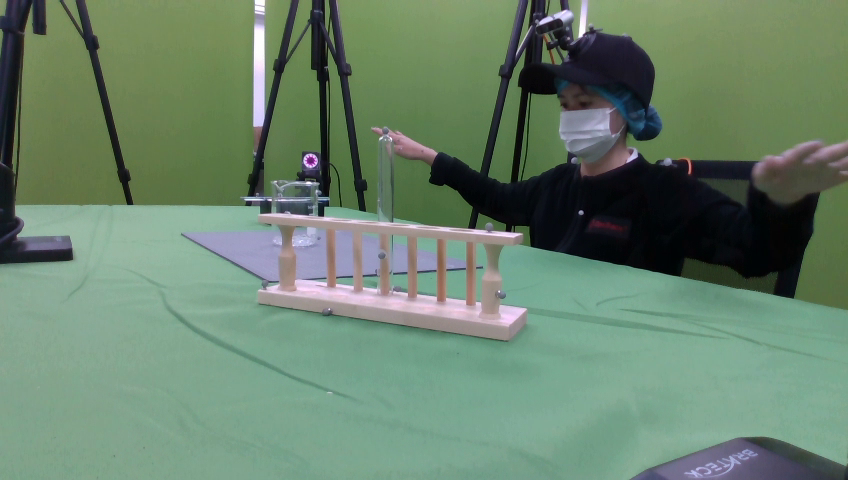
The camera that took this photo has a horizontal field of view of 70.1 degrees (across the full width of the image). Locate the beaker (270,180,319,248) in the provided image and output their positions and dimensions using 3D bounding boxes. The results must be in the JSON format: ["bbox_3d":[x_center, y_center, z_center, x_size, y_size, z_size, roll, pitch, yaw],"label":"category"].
[{"bbox_3d":[-0.203,-0.040,0.935,0.074,0.100,0.084,5,8,18],"label":"beaker"}]

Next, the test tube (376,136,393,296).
[{"bbox_3d":[-0.037,-0.022,0.565,0.017,0.150,0.017,1,6,0],"label":"test tube"}]

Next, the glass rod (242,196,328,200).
[{"bbox_3d":[-0.287,-0.089,1.268,0.201,0.008,0.008,-4,10,-43],"label":"glass rod"}]

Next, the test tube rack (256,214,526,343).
[{"bbox_3d":[-0.032,0.027,0.547,0.241,0.085,0.067,5,7,22],"label":"test tube rack"}]
